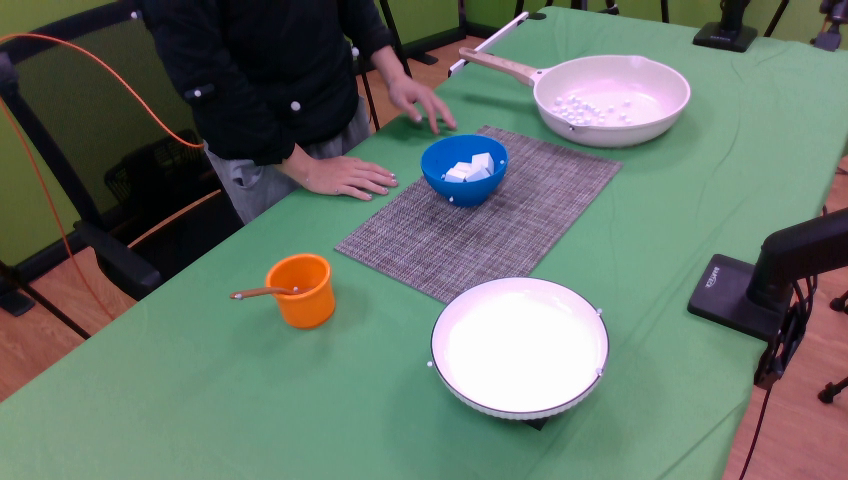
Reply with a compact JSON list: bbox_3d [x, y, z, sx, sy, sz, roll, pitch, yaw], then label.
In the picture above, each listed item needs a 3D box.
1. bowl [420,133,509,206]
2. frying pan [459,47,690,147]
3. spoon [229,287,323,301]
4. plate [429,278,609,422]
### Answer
[{"bbox_3d":[0.071,-0.112,1.038,0.151,0.077,0.150,-4,40,4],"label":"bowl"},{"bbox_3d":[0.280,-0.317,1.234,0.485,0.103,0.307,28,50,23],"label":"frying pan"},{"bbox_3d":[-0.197,0.071,0.817,0.041,0.195,0.021,13,88,23],"label":"spoon"},{"bbox_3d":[0.111,0.129,0.716,0.207,0.039,0.206,-5,39,4],"label":"plate"}]
